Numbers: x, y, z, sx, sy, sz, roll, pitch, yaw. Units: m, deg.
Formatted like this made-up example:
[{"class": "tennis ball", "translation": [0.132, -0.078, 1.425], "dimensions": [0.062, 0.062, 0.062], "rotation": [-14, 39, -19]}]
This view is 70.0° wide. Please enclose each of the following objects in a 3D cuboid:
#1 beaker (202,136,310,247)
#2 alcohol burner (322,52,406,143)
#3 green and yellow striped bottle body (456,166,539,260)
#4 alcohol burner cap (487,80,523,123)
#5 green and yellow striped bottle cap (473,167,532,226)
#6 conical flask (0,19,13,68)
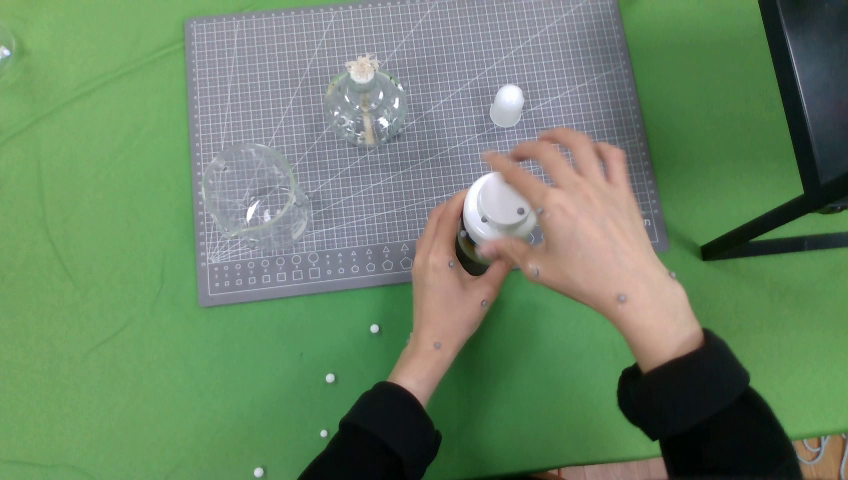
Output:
[{"class": "beaker", "translation": [-0.144, -0.034, 0.535], "dimensions": [0.074, 0.100, 0.083], "rotation": [21, 79, 4]}, {"class": "alcohol burner", "translation": [-0.055, -0.135, 0.551], "dimensions": [0.078, 0.119, 0.077], "rotation": [1, 76, -3]}, {"class": "green and yellow striped bottle body", "translation": [0.063, -0.023, 0.528], "dimensions": [0.063, 0.120, 0.063], "rotation": [0, 78, -1]}, {"class": "alcohol burner cap", "translation": [0.081, -0.139, 0.593], "dimensions": [0.034, 0.048, 0.033], "rotation": [1, 78, -2]}, {"class": "green and yellow striped bottle cap", "translation": [0.062, -0.034, 0.477], "dimensions": [0.045, 0.020, 0.045], "rotation": [1, 78, -3]}, {"class": "conical flask", "translation": [-0.449, -0.206, 0.553], "dimensions": [0.075, 0.122, 0.075], "rotation": [0, 77, -1]}]
